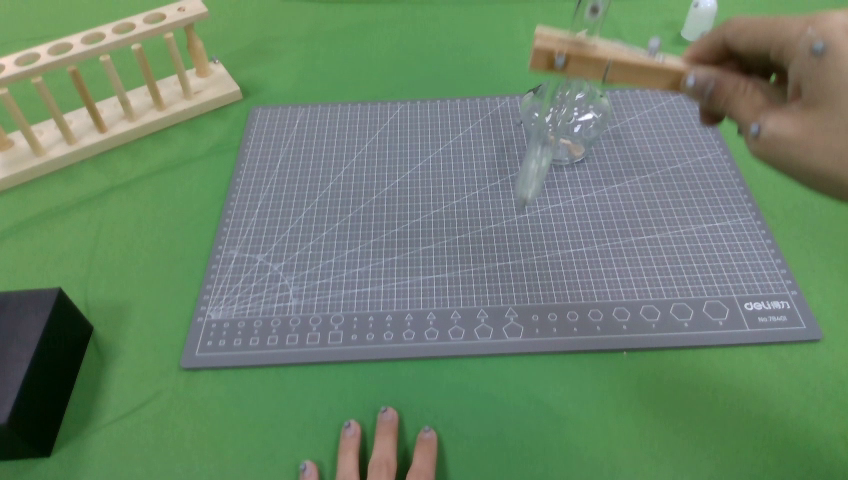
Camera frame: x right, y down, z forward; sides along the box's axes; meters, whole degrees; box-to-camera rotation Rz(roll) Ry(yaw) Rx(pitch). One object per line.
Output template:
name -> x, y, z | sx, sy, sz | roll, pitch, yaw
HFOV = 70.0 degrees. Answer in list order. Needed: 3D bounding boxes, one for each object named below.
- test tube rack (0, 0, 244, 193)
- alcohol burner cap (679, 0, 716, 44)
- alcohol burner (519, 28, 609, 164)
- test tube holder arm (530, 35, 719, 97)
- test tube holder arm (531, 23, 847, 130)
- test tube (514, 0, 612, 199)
test tube rack -> -0.309, -0.141, 0.580 | 0.242, 0.086, 0.066 | -27, 53, -19
alcohol burner cap -> 0.301, -0.243, 0.661 | 0.034, 0.048, 0.033 | -3, 50, 4
alcohol burner -> 0.122, -0.125, 0.518 | 0.078, 0.120, 0.077 | -1, 47, 2
test tube holder arm -> 0.095, -0.083, 0.289 | 0.088, 0.015, 0.010 | 9, 44, -1
test tube holder arm -> 0.140, -0.076, 0.291 | 0.178, 0.015, 0.013 | 15, 45, 4
test tube -> 0.071, -0.080, 0.303 | 0.017, 0.151, 0.017 | 7, 43, -6
